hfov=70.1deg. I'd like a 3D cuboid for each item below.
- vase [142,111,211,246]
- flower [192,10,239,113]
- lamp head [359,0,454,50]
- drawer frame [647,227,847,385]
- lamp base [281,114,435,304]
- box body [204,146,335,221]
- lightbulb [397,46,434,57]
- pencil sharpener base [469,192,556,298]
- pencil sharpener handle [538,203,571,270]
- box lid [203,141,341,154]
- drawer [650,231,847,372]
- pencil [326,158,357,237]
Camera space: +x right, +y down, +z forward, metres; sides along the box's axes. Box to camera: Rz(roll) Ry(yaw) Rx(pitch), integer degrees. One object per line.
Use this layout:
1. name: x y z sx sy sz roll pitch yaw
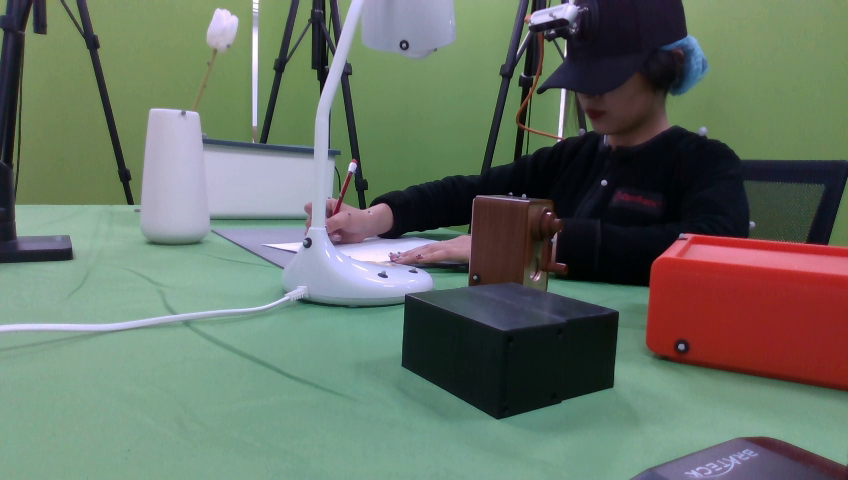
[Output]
1. vase: -0.378 -0.093 0.920 0.098 0.200 0.098 2 9 0
2. flower: -0.354 -0.174 0.915 0.038 0.361 0.044 18 -3 12
3. lamp head: -0.024 -0.282 0.674 0.112 0.123 0.112 -3 38 3
4. drawer frame: 0.303 0.043 0.495 0.201 0.082 0.214 6 9 26
5. lamp base: -0.071 -0.034 0.614 0.160 0.180 0.180 6 10 27
6. box body: -0.410 -0.135 1.386 0.366 0.160 0.253 -2 9 -29
7. lightbulb: -0.017 -0.264 0.692 0.059 0.108 0.059 -9 28 5
8. pencil sharpener base: 0.097 0.003 0.652 0.076 0.107 0.061 8 9 38
9. pencil sharpener handle: 0.137 -0.003 0.619 0.030 0.067 0.036 8 7 38
10. box lid: -0.396 -0.212 1.373 0.373 0.015 0.262 -1 9 -29
11. drawer: 0.303 0.044 0.499 0.194 0.073 0.212 7 9 27
12. pencil: -0.133 -0.060 0.952 0.012 0.012 0.194 4 51 12
